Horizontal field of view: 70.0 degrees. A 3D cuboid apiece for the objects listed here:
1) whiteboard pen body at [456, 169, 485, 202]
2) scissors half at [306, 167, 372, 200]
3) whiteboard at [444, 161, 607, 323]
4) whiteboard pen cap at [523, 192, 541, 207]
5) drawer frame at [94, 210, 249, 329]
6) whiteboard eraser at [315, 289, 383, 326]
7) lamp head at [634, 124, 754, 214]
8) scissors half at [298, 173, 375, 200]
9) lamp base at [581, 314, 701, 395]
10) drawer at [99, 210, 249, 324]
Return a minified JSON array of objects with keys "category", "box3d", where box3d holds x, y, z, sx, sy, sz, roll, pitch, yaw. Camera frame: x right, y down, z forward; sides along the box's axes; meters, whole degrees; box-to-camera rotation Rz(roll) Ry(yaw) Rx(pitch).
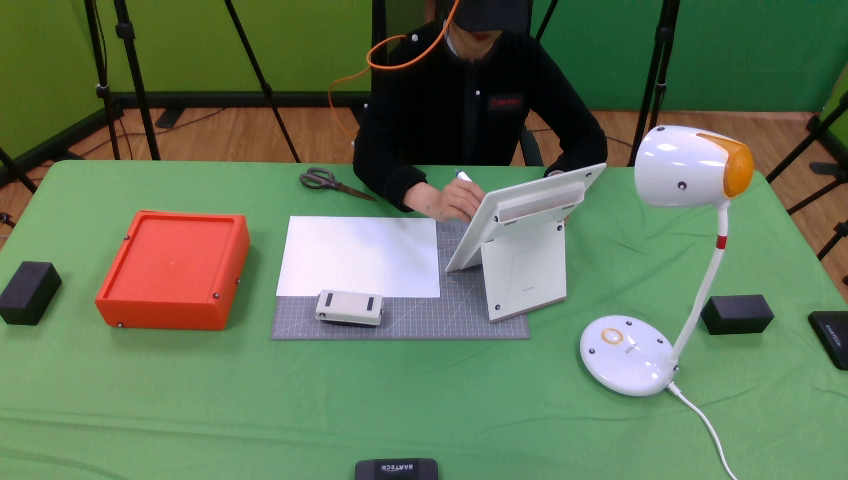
[{"category":"whiteboard pen body","box3d":[0.099,-0.079,1.063,0.017,0.017,0.140,-22,53,-23]},{"category":"scissors half","box3d":[-0.180,-0.121,1.311,0.174,0.013,0.040,27,39,18]},{"category":"whiteboard","box3d":[0.186,0.025,1.029,0.217,0.306,0.143,-14,68,-18]},{"category":"whiteboard pen cap","box3d":[0.206,-0.078,1.157,0.033,0.018,0.018,30,47,-10]},{"category":"drawer frame","box3d":[-0.435,0.048,1.076,0.202,0.083,0.212,2,47,-3]},{"category":"whiteboard eraser","box3d":[-0.130,0.119,1.054,0.113,0.042,0.055,6,47,1]},{"category":"lamp head","box3d":[0.351,-0.089,0.776,0.112,0.113,0.122,-30,30,-28]},{"category":"scissors half","box3d":[-0.188,-0.110,1.296,0.175,0.013,0.040,15,42,5]},{"category":"lamp base","box3d":[0.361,0.145,0.972,0.178,0.181,0.160,34,53,23]},{"category":"drawer","box3d":[-0.435,0.044,1.081,0.194,0.073,0.210,3,47,-2]}]
